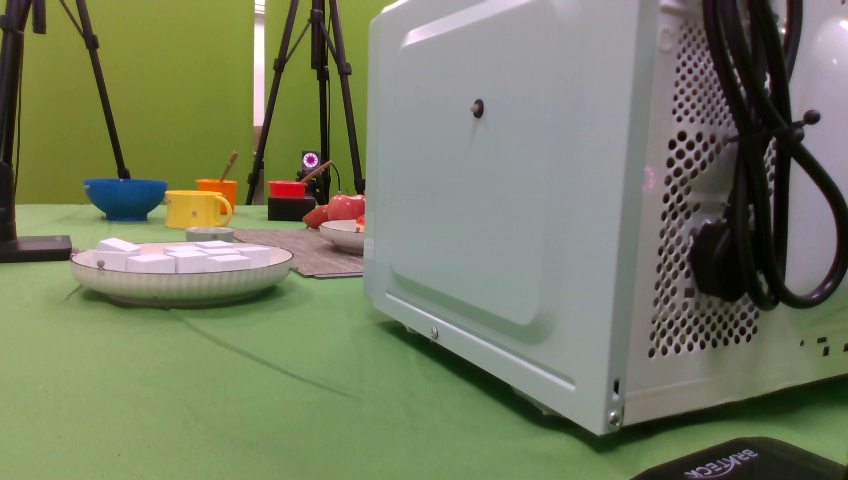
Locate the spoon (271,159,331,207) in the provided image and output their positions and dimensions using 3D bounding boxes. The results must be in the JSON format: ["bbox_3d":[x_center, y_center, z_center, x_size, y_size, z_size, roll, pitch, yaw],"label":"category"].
[{"bbox_3d":[-0.308,-0.142,1.514,0.193,0.021,0.041,-41,4,8],"label":"spoon"}]

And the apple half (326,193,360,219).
[{"bbox_3d":[-0.135,-0.047,1.089,0.081,0.074,0.053,4,10,-12],"label":"apple half"}]

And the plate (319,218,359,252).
[{"bbox_3d":[-0.059,-0.007,0.939,0.209,0.038,0.209,3,8,0],"label":"plate"}]

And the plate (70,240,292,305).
[{"bbox_3d":[-0.241,0.031,0.618,0.208,0.039,0.207,2,8,0],"label":"plate"}]

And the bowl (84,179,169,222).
[{"bbox_3d":[-0.584,-0.078,1.194,0.151,0.077,0.151,3,8,0],"label":"bowl"}]

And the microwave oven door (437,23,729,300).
[{"bbox_3d":[0.181,-0.072,0.621,0.358,0.243,0.039,-2,9,-29],"label":"microwave oven door"}]

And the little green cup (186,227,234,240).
[{"bbox_3d":[-0.284,0.005,0.805,0.061,0.038,0.061,2,8,0],"label":"little green cup"}]

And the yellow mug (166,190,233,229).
[{"bbox_3d":[-0.415,-0.057,1.132,0.130,0.064,0.100,6,8,16],"label":"yellow mug"}]

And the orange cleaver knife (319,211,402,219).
[{"bbox_3d":[-0.142,-0.057,1.394,0.077,0.012,0.212,3,7,44],"label":"orange cleaver knife"}]

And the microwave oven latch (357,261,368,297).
[{"bbox_3d":[-0.019,0.033,0.531,0.079,0.029,0.030,-1,7,-27],"label":"microwave oven latch"}]

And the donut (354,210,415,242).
[{"bbox_3d":[-0.062,-0.020,0.955,0.099,0.048,0.099,5,7,0],"label":"donut"}]

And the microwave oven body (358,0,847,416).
[{"bbox_3d":[0.211,-0.047,0.474,0.444,0.260,0.324,-1,7,-28],"label":"microwave oven body"}]

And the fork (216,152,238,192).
[{"bbox_3d":[-0.455,-0.132,1.367,0.028,0.018,0.207,-3,-34,-38],"label":"fork"}]

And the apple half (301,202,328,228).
[{"bbox_3d":[-0.194,-0.043,1.172,0.081,0.032,0.081,-21,-16,-6],"label":"apple half"}]
